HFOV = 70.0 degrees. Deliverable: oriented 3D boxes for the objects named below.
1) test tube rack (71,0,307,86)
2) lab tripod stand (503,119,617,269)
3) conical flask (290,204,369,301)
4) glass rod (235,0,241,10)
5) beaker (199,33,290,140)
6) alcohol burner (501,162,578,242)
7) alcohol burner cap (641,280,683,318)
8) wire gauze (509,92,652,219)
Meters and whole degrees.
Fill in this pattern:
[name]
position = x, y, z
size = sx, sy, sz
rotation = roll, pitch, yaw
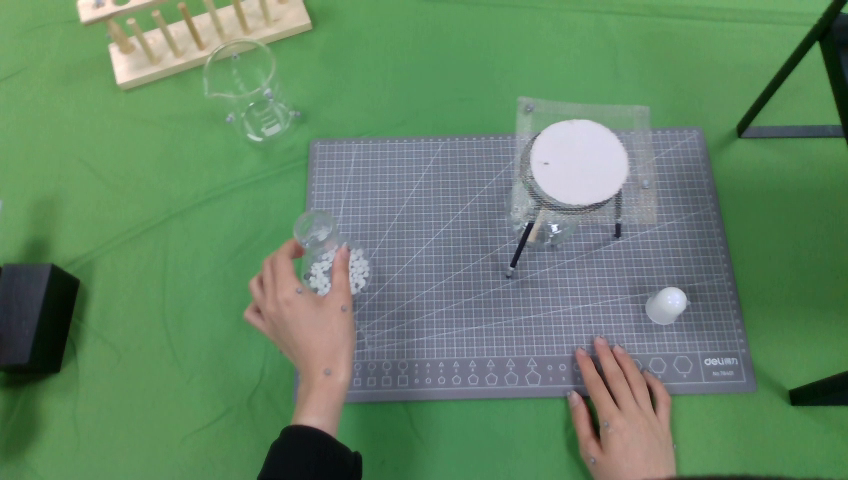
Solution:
[test tube rack]
position = -0.272, -0.272, 0.721
size = 0.242, 0.086, 0.066
rotation = -21, 70, -7
[lab tripod stand]
position = 0.131, -0.046, 0.593
size = 0.148, 0.132, 0.147
rotation = 0, 67, 0
[conical flask]
position = -0.097, 0.008, 0.584
size = 0.075, 0.123, 0.075
rotation = -1, 68, 2
[glass rod]
position = -0.227, -0.331, 0.671
size = 0.008, 0.201, 0.008
rotation = 1, 67, -3
[beaker]
position = -0.195, -0.162, 0.669
size = 0.084, 0.101, 0.073
rotation = -42, 72, -13
[alcohol burner]
position = 0.118, -0.044, 0.603
size = 0.078, 0.120, 0.077
rotation = 0, 68, 0
[alcohol burner cap]
position = 0.237, 0.056, 0.599
size = 0.034, 0.048, 0.033
rotation = -1, 69, 2
[wire gauze]
position = 0.136, -0.076, 0.531
size = 0.121, 0.011, 0.124
rotation = 4, 69, 2
